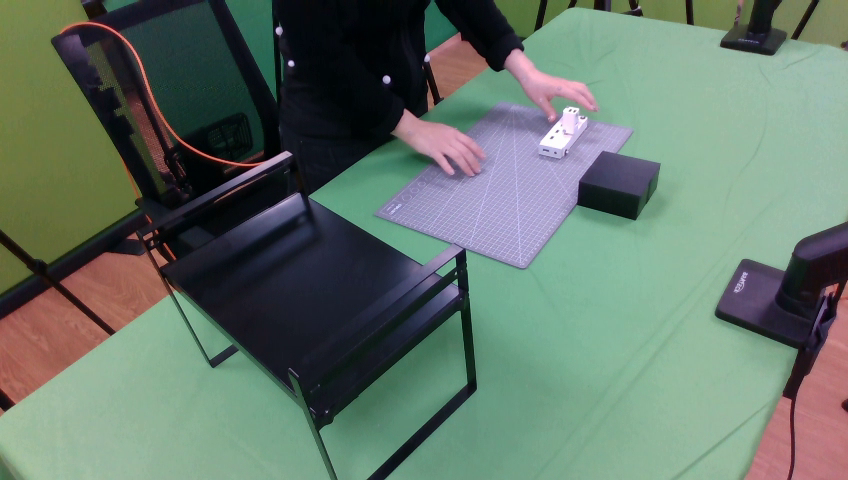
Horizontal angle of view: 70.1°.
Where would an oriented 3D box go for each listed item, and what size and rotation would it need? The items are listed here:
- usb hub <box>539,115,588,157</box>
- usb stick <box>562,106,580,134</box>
[{"bbox_3d":[0.269,-0.203,1.165,0.049,0.025,0.125,19,48,28],"label":"usb hub"},{"bbox_3d":[0.274,-0.218,1.132,0.027,0.059,0.021,19,47,23],"label":"usb stick"}]
